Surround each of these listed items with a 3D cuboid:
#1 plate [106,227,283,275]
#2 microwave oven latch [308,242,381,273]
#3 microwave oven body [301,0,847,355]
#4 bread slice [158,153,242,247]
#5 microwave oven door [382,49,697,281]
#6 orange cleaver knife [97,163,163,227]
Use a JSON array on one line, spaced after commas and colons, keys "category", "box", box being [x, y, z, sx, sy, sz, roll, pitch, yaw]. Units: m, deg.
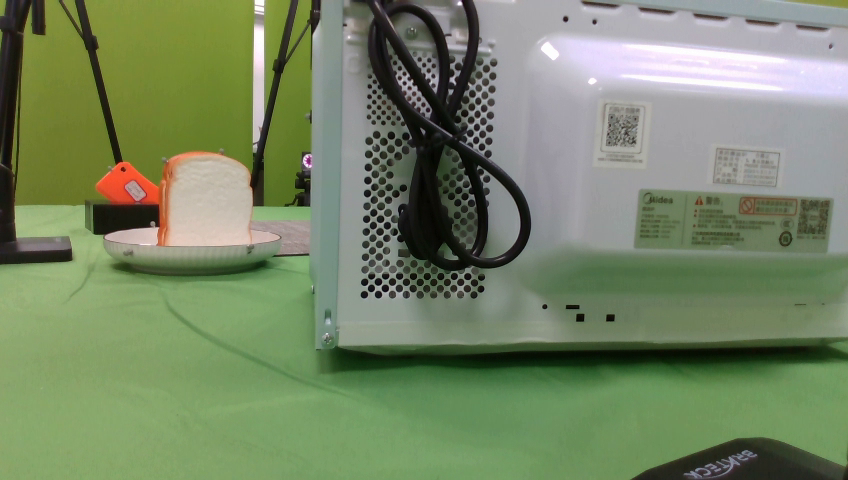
[{"category": "plate", "box": [-0.288, 0.013, 0.772, 0.208, 0.039, 0.207, 2, 7, 0]}, {"category": "microwave oven latch", "box": [-0.086, 0.019, 0.656, 0.079, 0.029, 0.030, 2, 7, -11]}, {"category": "microwave oven body", "box": [0.120, -0.053, 0.535, 0.443, 0.260, 0.325, 2, 7, -11]}, {"category": "bread slice", "box": [-0.287, -0.045, 0.788, 0.107, 0.134, 0.018, 2, 8, -35]}, {"category": "microwave oven door", "box": [0.135, -0.077, 0.685, 0.357, 0.243, 0.039, 1, 8, -12]}, {"category": "orange cleaver knife", "box": [-0.472, -0.062, 1.087, 0.212, 0.077, 0.012, 33, -14, -36]}]
